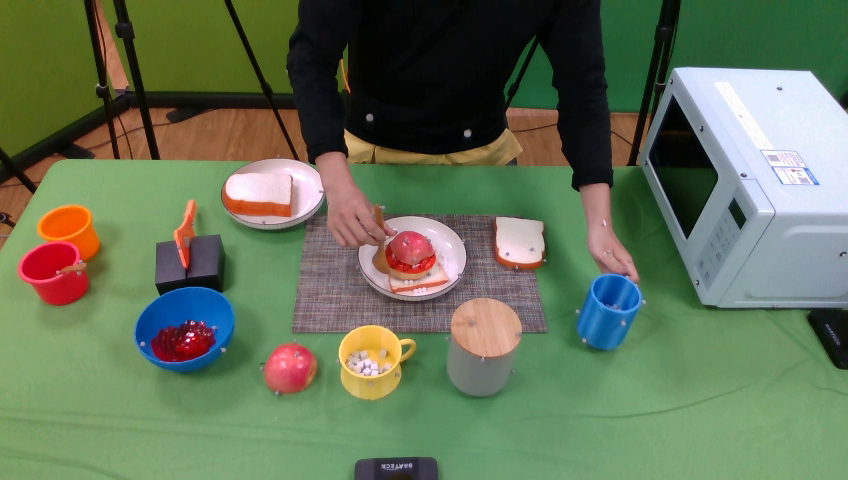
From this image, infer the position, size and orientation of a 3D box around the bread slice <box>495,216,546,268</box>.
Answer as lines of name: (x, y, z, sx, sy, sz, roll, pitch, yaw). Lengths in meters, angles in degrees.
bread slice: (0.194, 0.002, 1.205, 0.105, 0.019, 0.131, 5, 45, 2)

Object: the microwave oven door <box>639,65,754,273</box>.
microwave oven door: (0.522, -0.147, 1.193, 0.039, 0.245, 0.353, 0, 47, -3)

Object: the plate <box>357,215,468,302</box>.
plate: (-0.022, 0.037, 1.141, 0.208, 0.039, 0.206, 2, 46, -2)

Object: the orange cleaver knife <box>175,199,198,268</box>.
orange cleaver knife: (-0.438, -0.017, 1.138, 0.012, 0.077, 0.210, -13, 27, -7)

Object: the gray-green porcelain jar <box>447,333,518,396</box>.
gray-green porcelain jar: (0.091, 0.178, 0.960, 0.106, 0.127, 0.105, 2, 46, -2)

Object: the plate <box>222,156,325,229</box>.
plate: (-0.308, -0.095, 1.251, 0.209, 0.038, 0.208, 2, 47, -2)

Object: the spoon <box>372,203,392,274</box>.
spoon: (-0.072, 0.000, 0.998, 0.041, 0.195, 0.021, 30, 56, 20)

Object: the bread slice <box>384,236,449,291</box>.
bread slice: (-0.026, 0.038, 1.139, 0.107, 0.018, 0.133, -12, 46, -15)

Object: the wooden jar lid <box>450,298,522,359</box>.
wooden jar lid: (0.093, 0.135, 0.914, 0.108, 0.021, 0.107, 2, 48, -3)

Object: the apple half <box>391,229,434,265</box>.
apple half: (-0.021, 0.003, 1.085, 0.081, 0.033, 0.081, 7, 45, -6)

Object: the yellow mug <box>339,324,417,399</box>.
yellow mug: (-0.072, 0.190, 0.978, 0.131, 0.064, 0.099, -17, 50, -20)

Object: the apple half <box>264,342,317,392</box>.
apple half: (-0.214, 0.198, 0.970, 0.074, 0.053, 0.080, 19, 48, 10)

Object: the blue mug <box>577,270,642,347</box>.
blue mug: (0.315, 0.106, 1.024, 0.082, 0.106, 0.116, 20, 49, 15)

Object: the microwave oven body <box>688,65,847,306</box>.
microwave oven body: (0.669, -0.111, 1.176, 0.326, 0.261, 0.439, 0, 46, -3)

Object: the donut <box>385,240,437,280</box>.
donut: (-0.025, 0.030, 1.109, 0.099, 0.048, 0.098, 1, 48, -1)

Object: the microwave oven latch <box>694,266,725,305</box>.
microwave oven latch: (0.523, 0.082, 1.115, 0.030, 0.029, 0.078, 3, 46, 0)

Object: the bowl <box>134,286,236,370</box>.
bowl: (-0.377, 0.155, 0.981, 0.151, 0.077, 0.150, 2, 46, -2)

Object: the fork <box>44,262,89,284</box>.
fork: (-0.599, 0.053, 1.014, 0.207, 0.019, 0.028, -14, 29, 45)
